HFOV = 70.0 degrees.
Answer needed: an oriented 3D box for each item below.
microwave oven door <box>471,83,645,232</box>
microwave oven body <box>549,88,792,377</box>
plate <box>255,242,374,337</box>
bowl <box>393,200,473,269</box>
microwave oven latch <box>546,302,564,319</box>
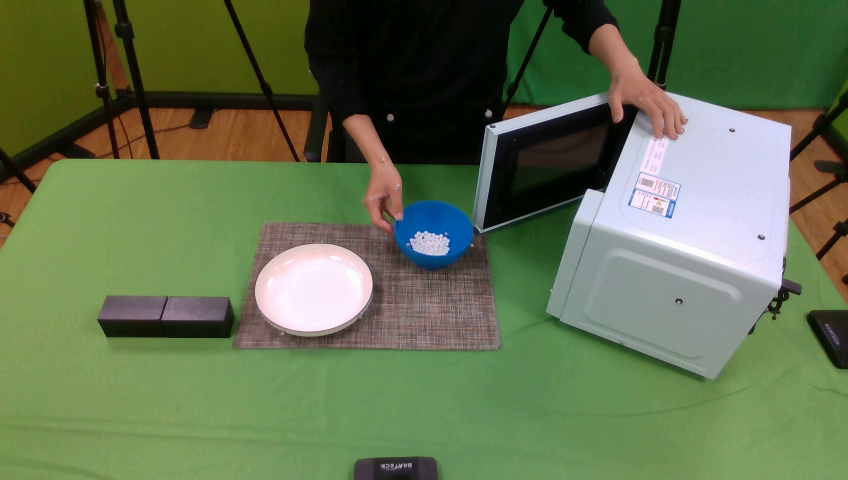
[{"bbox_3d":[0.264,-0.163,1.197,0.356,0.245,0.039,-19,50,-21],"label":"microwave oven door"},{"bbox_3d":[0.456,-0.028,1.088,0.325,0.261,0.440,20,47,16],"label":"microwave oven body"},{"bbox_3d":[-0.192,0.090,1.079,0.208,0.039,0.206,2,46,-2],"label":"plate"},{"bbox_3d":[0.014,0.002,1.150,0.151,0.077,0.150,4,46,-4],"label":"bowl"},{"bbox_3d":[0.242,0.102,1.081,0.030,0.029,0.079,22,48,17],"label":"microwave oven latch"}]
